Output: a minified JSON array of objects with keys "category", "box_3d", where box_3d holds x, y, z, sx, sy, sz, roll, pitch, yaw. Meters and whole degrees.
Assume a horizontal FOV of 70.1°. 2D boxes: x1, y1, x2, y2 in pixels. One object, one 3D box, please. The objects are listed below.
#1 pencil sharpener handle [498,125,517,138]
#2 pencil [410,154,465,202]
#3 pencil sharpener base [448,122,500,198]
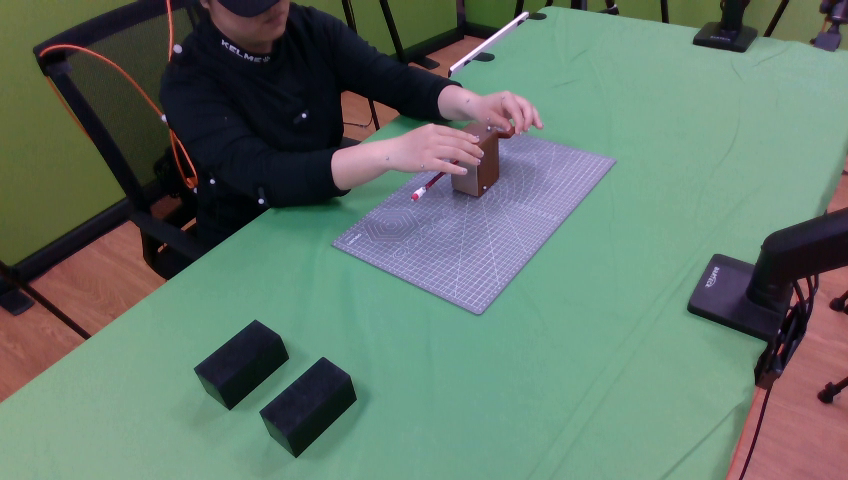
[{"category":"pencil sharpener handle","box_3d":[0.128,-0.189,1.055,0.067,0.036,0.031,7,39,40]},{"category":"pencil","box_3d":[0.038,-0.116,0.987,0.012,0.012,0.194,21,46,30]},{"category":"pencil sharpener base","box_3d":[0.090,-0.140,1.052,0.061,0.107,0.077,21,47,30]}]
